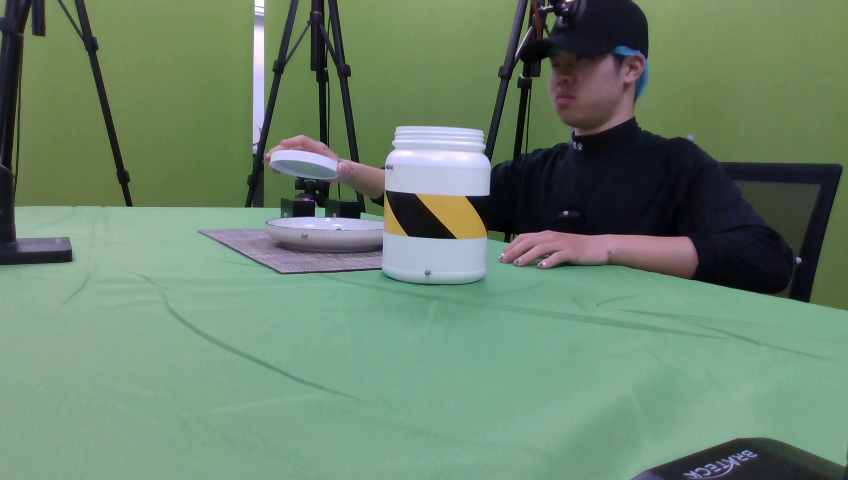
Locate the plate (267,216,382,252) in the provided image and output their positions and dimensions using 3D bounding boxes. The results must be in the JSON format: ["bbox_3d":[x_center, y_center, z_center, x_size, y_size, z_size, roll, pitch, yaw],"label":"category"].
[{"bbox_3d":[-0.145,-0.010,0.967,0.208,0.039,0.207,2,7,0],"label":"plate"}]

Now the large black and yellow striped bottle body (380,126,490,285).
[{"bbox_3d":[0.013,-0.044,0.747,0.131,0.184,0.130,3,7,0],"label":"large black and yellow striped bottle body"}]

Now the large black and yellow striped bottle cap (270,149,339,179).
[{"bbox_3d":[-0.201,-0.127,1.021,0.115,0.019,0.115,6,-10,1],"label":"large black and yellow striped bottle cap"}]
